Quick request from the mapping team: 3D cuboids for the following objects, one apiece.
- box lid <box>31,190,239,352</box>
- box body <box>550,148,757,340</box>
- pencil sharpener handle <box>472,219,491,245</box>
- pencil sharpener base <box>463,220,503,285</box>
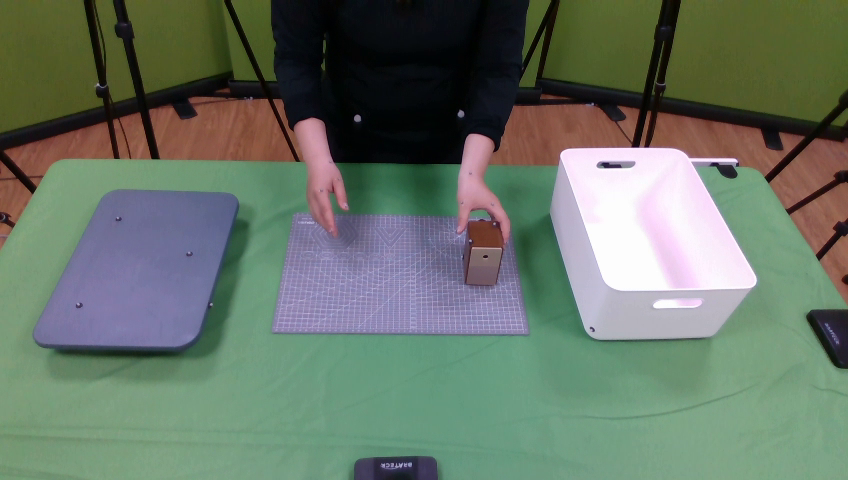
[{"bbox_3d":[-0.491,0.040,1.070,0.263,0.015,0.369,1,46,-3],"label":"box lid"},{"bbox_3d":[0.395,0.003,1.127,0.254,0.161,0.361,-1,46,-5],"label":"box body"},{"bbox_3d":[0.104,-0.021,1.146,0.036,0.068,0.030,6,45,-8],"label":"pencil sharpener handle"},{"bbox_3d":[0.107,0.023,1.119,0.061,0.107,0.076,1,45,-3],"label":"pencil sharpener base"}]
